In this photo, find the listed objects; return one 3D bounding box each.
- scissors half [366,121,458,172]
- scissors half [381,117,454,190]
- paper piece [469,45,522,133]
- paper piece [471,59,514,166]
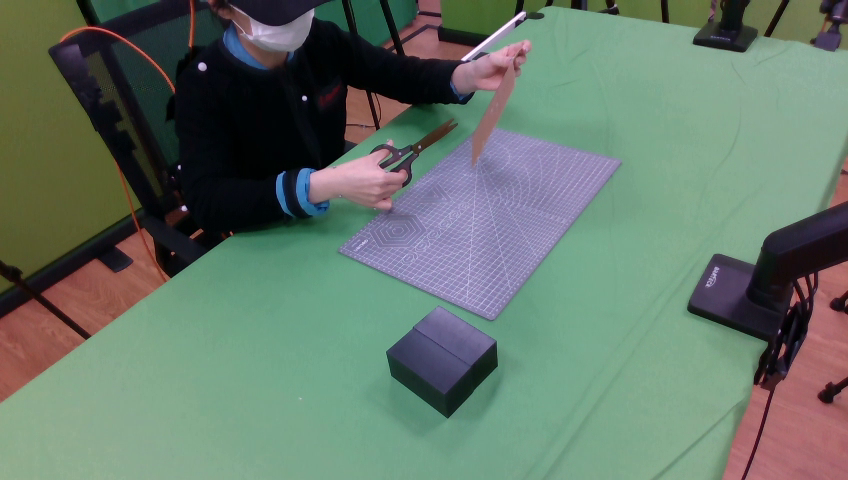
[{"bbox_3d":[-0.023,-0.158,0.998,0.174,0.040,0.013,-20,25,20],"label":"scissors half"},{"bbox_3d":[-0.009,-0.142,1.004,0.040,0.175,0.013,40,28,-9],"label":"scissors half"},{"bbox_3d":[0.121,-0.250,0.994,0.008,0.136,0.138,31,30,2],"label":"paper piece"},{"bbox_3d":[0.097,-0.188,0.879,0.004,0.135,0.135,23,31,-8],"label":"paper piece"}]
